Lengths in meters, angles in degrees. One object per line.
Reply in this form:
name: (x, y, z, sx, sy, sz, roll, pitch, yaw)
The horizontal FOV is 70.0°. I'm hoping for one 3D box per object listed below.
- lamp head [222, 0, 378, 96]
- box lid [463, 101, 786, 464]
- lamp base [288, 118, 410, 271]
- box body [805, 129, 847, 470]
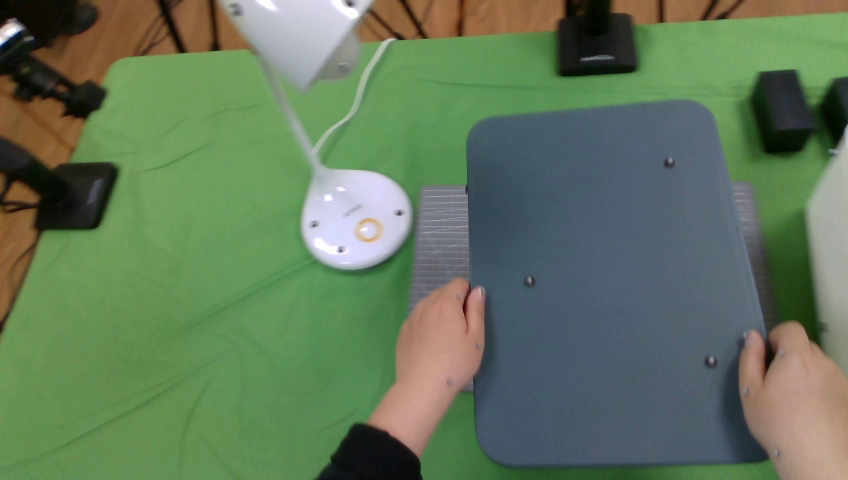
lamp head: (-0.119, -0.206, 0.536, 0.123, 0.112, 0.112, 36, 70, -10)
box lid: (0.173, 0.021, 0.591, 0.263, 0.015, 0.368, -4, 64, 7)
lamp base: (-0.120, -0.071, 0.804, 0.160, 0.182, 0.177, -44, 61, -14)
box body: (0.560, 0.067, 0.617, 0.253, 0.162, 0.361, 4, 63, 13)
